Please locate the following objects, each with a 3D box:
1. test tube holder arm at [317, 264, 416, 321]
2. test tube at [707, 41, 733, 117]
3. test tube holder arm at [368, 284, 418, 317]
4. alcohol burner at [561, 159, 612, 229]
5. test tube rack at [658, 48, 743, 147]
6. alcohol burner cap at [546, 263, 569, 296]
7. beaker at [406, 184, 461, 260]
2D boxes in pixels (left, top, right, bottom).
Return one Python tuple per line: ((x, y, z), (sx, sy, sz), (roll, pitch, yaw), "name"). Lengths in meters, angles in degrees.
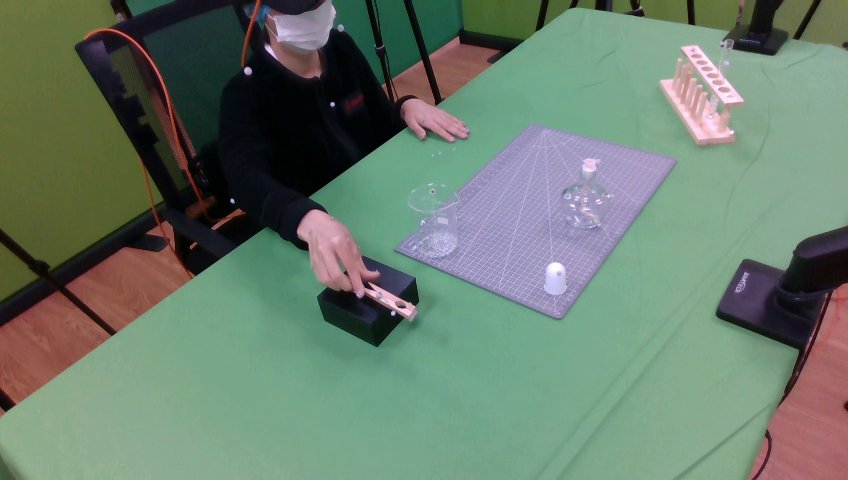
((-0.083, 0.070, 0.833), (0.177, 0.015, 0.013), (22, 53, 30), "test tube holder arm")
((0.542, -0.293, 1.111), (0.017, 0.151, 0.017), (-4, 43, 5), "test tube")
((-0.044, 0.082, 0.813), (0.087, 0.015, 0.010), (23, 54, 31), "test tube holder arm")
((0.257, -0.077, 0.951), (0.078, 0.119, 0.077), (-3, 40, 3), "alcohol burner")
((0.532, -0.284, 1.180), (0.067, 0.085, 0.241), (-5, 40, 4), "test tube rack")
((0.191, 0.053, 0.862), (0.034, 0.048, 0.033), (-5, 40, 4), "alcohol burner cap")
((0.019, -0.026, 0.939), (0.084, 0.101, 0.074), (1, 41, 9), "beaker")
